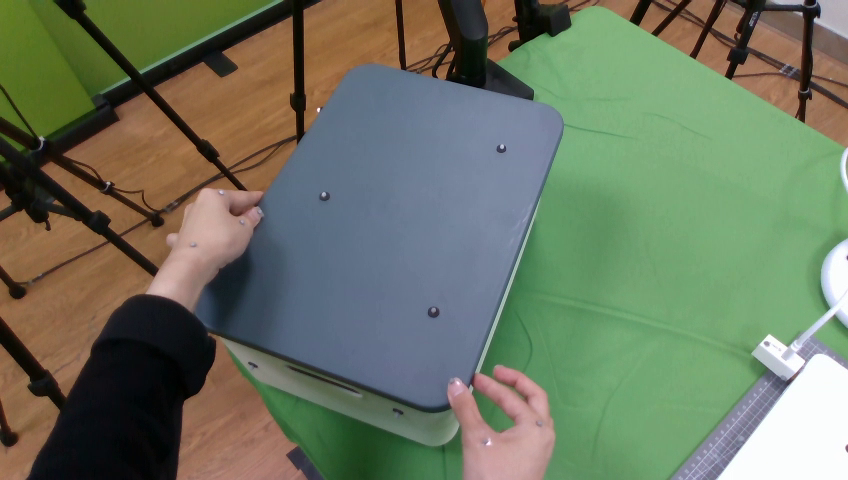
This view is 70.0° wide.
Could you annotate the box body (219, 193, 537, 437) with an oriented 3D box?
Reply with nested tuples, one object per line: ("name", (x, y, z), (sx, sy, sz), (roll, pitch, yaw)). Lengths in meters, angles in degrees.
("box body", (-0.029, 0.002, 0.672), (0.253, 0.162, 0.362), (17, 59, 12))

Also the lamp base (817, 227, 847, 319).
("lamp base", (0.545, -0.003, 0.650), (0.160, 0.182, 0.177), (7, 54, 6))

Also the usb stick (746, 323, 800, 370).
("usb stick", (0.383, 0.120, 0.654), (0.021, 0.027, 0.058), (-33, 65, -24))

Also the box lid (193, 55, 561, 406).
("box lid", (-0.029, -0.042, 0.605), (0.262, 0.015, 0.369), (17, 60, 12))

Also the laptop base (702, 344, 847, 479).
("laptop base", (0.461, 0.286, 0.558), (0.235, 0.023, 0.351), (-41, 64, -18))

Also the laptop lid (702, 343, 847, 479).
("laptop lid", (0.458, 0.281, 0.548), (0.241, 0.013, 0.353), (-39, 63, -18))
